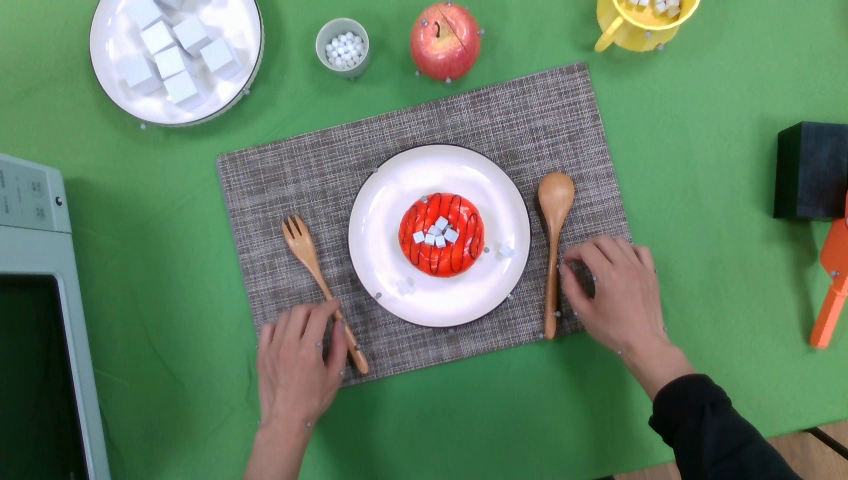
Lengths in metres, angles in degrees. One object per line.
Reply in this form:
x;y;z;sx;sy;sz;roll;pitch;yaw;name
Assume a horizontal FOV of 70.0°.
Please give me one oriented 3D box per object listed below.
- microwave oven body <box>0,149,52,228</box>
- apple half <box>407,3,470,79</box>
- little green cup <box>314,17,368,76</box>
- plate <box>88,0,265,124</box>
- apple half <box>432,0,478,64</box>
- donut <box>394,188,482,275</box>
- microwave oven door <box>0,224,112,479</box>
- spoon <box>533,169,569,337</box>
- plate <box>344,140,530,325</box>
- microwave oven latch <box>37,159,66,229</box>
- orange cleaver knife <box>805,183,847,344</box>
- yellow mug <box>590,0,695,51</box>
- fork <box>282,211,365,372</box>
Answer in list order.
-0.557;0.145;0.603;0.326;0.260;0.441;-11;88;2;microwave oven body
0.010;-0.216;0.684;0.053;0.074;0.081;-34;89;6;apple half
-0.094;-0.223;0.707;0.061;0.038;0.061;0;87;4;little green cup
-0.288;-0.237;0.718;0.207;0.039;0.207;0;87;3;plate
0.041;-0.239;0.682;0.033;0.081;0.081;-35;86;5;apple half
0.016;-0.010;0.678;0.099;0.048;0.099;0;90;5;donut
-0.406;0.158;0.589;0.039;0.244;0.355;-11;87;3;microwave oven door
0.144;0.013;0.693;0.041;0.021;0.193;1;88;2;spoon
0.015;-0.009;0.689;0.209;0.038;0.209;0;88;3;plate
-0.439;-0.052;0.700;0.030;0.029;0.079;-9;88;2;microwave oven latch
0.441;0.013;0.643;0.012;0.076;0.213;6;120;6;orange cleaver knife
0.235;-0.262;0.677;0.100;0.064;0.131;44;92;4;yellow mug
-0.115;0.059;0.704;0.028;0.018;0.207;-24;85;-20;fork
